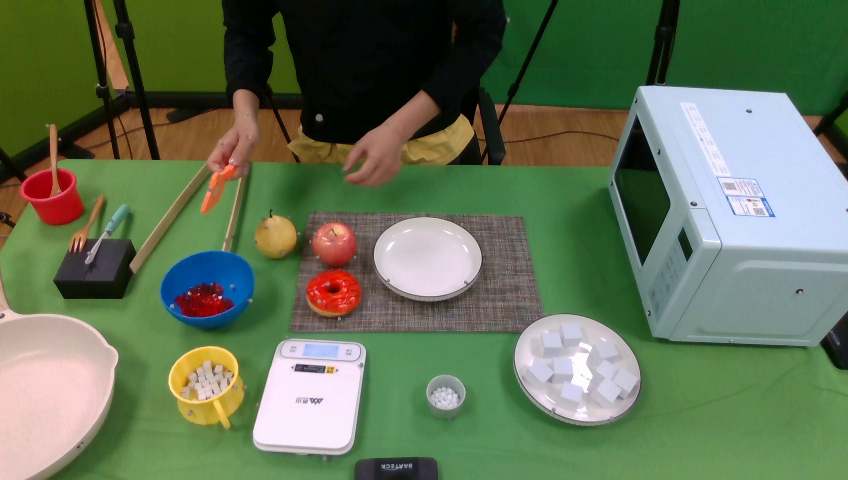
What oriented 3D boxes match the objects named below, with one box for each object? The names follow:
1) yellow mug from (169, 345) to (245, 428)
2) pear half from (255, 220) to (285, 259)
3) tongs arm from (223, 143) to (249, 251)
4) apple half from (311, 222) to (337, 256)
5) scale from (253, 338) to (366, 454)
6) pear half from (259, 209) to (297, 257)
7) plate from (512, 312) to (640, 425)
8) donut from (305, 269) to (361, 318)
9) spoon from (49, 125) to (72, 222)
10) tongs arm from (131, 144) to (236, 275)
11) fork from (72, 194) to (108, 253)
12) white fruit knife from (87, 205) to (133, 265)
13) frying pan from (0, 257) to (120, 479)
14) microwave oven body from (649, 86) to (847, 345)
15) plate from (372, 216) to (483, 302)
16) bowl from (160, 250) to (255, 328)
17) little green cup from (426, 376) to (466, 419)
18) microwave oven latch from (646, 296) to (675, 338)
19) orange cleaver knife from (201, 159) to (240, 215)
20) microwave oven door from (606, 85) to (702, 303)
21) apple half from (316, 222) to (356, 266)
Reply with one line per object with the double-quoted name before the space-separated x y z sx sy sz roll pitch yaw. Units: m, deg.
"yellow mug" -0.322 0.230 0.922 0.100 0.064 0.130 -24 53 -25
"pear half" -0.293 0.003 1.127 0.070 0.088 0.031 26 49 16
"tongs arm" -0.397 -0.073 1.232 0.051 0.027 0.382 -3 45 1
"apple half" -0.190 -0.001 1.143 0.032 0.081 0.081 28 51 18
"scale" -0.175 0.236 0.951 0.149 0.032 0.199 4 45 0
"pear half" -0.273 -0.024 1.141 0.076 0.110 0.056 28 51 17
"plate" 0.246 0.213 0.999 0.208 0.039 0.206 2 46 -2
"donut" -0.160 0.094 1.075 0.099 0.048 0.098 4 45 -3
"spoon" -0.718 -0.131 1.189 0.041 0.021 0.193 -4 90 -6
"tongs arm" -0.483 -0.077 1.236 0.028 0.028 0.385 5 45 13
"fork" -0.634 -0.036 1.158 0.028 0.019 0.206 -8 32 -8
"white fruit knife" -0.584 -0.013 1.129 0.016 0.027 0.206 0 31 -4
"frying pan" -0.647 0.164 0.936 0.307 0.103 0.485 -19 58 -22
"microwave oven body" 0.567 -0.053 1.118 0.326 0.261 0.439 2 45 -1
"plate" 0.006 0.038 1.145 0.209 0.038 0.208 2 46 -2
"bowl" -0.362 0.098 1.040 0.151 0.077 0.150 2 45 -2
"little green cup" 0.033 0.248 0.950 0.061 0.039 0.061 2 46 -2
"microwave oven latch" 0.412 0.134 1.061 0.030 0.029 0.078 4 45 1
"orange cleaver knife" -0.343 -0.092 1.024 0.012 0.077 0.210 20 14 -12
"microwave oven door" 0.422 -0.094 1.140 0.039 0.245 0.353 2 46 -1
"apple half" -0.157 0.015 1.132 0.053 0.075 0.080 28 47 18
